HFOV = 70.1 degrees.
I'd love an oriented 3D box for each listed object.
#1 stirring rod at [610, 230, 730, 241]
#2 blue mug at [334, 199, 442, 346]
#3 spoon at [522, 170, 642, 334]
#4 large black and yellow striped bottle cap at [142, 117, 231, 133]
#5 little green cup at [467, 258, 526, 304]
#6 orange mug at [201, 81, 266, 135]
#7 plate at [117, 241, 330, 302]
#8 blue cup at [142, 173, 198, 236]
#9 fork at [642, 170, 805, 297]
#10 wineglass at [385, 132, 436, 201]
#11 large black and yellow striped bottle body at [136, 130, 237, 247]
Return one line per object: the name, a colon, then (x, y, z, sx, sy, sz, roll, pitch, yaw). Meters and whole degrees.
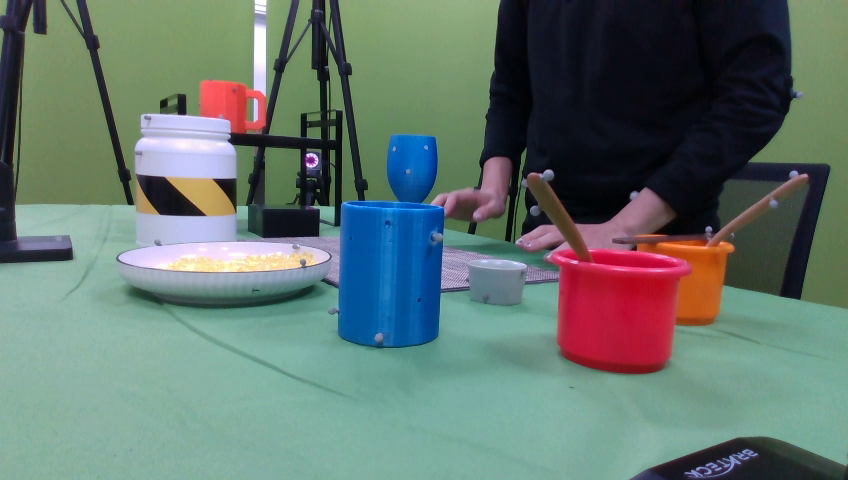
stirring rod: (0.241, -0.005, 0.581, 0.177, 0.006, 0.014, -3, 10, -34)
blue mug: (-0.034, 0.020, 0.498, 0.083, 0.106, 0.116, 0, 7, -20)
spoon: (0.110, 0.016, 0.424, 0.041, 0.021, 0.194, 7, -35, 43)
large black and yellow striped bottle cap: (-0.328, -0.159, 0.839, 0.115, 0.019, 0.115, 1, 9, 0)
little green cup: (0.074, 0.042, 0.626, 0.061, 0.038, 0.061, 3, 7, 0)
orange mug: (-0.376, -0.260, 1.198, 0.126, 0.101, 0.083, -3, 8, -6)
plate: (-0.203, 0.031, 0.630, 0.209, 0.038, 0.209, 3, 7, 0)
blue cup: (-0.425, -0.060, 1.014, 0.093, 0.100, 0.092, 4, 9, 0)
fork: (0.261, 0.004, 0.545, 0.028, 0.018, 0.207, 5, -37, -15)
wineglass: (-0.020, -0.061, 0.842, 0.074, 0.172, 0.073, 2, 7, 0)
large black and yellow striped bottle body: (-0.332, -0.076, 0.851, 0.131, 0.184, 0.130, 3, 8, 0)
